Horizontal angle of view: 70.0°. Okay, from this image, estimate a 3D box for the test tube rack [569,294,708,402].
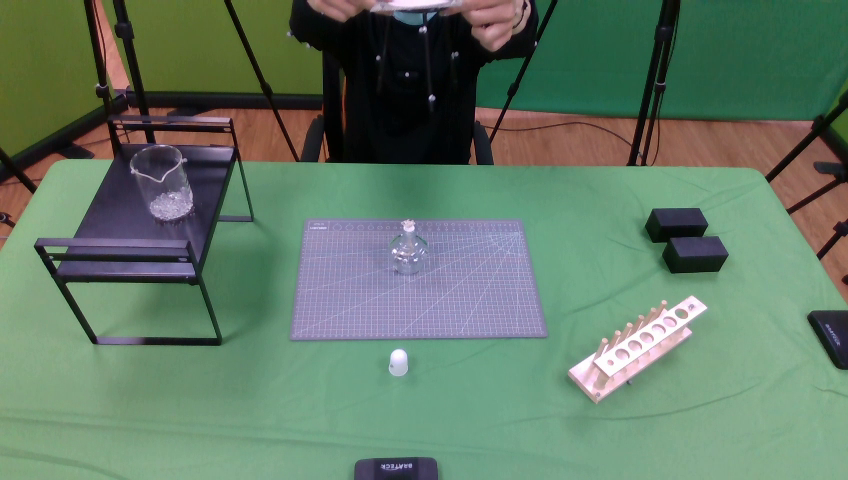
[{"bbox_3d":[0.360,0.167,1.014,0.242,0.085,0.066,-25,53,-25],"label":"test tube rack"}]

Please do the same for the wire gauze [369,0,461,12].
[{"bbox_3d":[-0.007,-0.332,0.841,0.121,0.011,0.124,3,30,5],"label":"wire gauze"}]

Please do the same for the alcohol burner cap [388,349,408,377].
[{"bbox_3d":[-0.042,0.197,0.989,0.034,0.048,0.033,3,46,-2],"label":"alcohol burner cap"}]

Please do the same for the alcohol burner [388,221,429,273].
[{"bbox_3d":[-0.028,0.006,1.118,0.078,0.119,0.077,2,49,-2],"label":"alcohol burner"}]

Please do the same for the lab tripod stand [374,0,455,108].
[{"bbox_3d":[-0.007,-0.279,0.882,0.148,0.132,0.147,-1,32,1],"label":"lab tripod stand"}]

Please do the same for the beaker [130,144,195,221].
[{"bbox_3d":[-0.403,-0.085,0.944,0.074,0.101,0.083,-15,50,-17],"label":"beaker"}]
